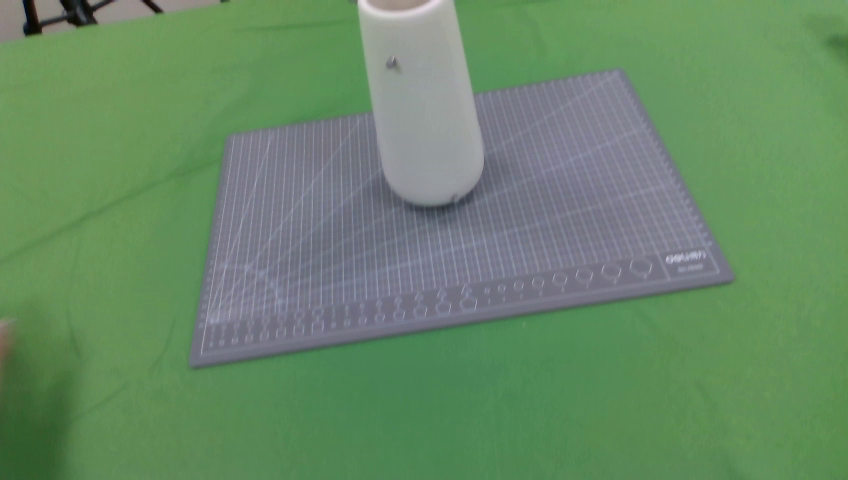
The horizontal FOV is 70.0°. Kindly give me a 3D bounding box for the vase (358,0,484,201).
[{"bbox_3d":[-0.002,-0.128,0.523,0.098,0.202,0.097,-5,50,6],"label":"vase"}]
